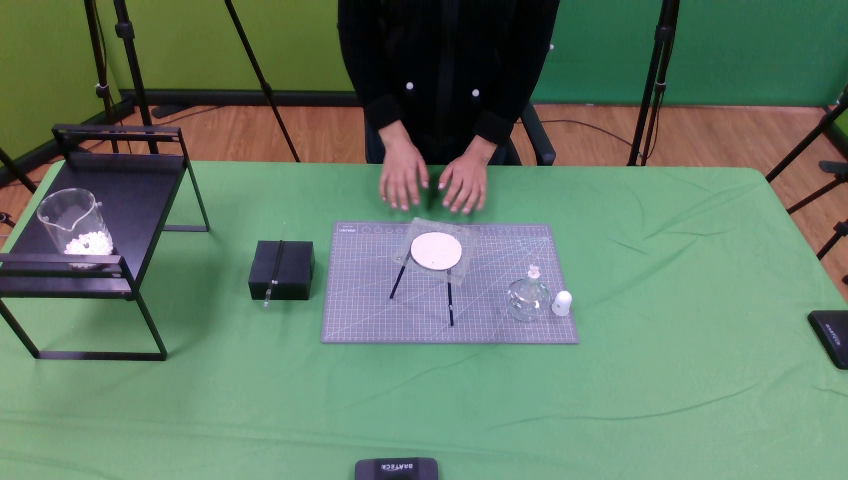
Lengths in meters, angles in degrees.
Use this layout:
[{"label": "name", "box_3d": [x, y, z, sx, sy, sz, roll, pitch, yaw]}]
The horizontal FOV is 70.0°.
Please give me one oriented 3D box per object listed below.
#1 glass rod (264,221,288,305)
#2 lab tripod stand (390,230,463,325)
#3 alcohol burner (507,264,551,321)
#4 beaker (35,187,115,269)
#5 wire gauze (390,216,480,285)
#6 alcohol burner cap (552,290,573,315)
[{"label": "glass rod", "box_3d": [-0.263, 0.037, 1.083, 0.008, 0.008, 0.198, 3, 46, -1]}, {"label": "lab tripod stand", "box_3d": [0.014, 0.060, 1.056, 0.148, 0.132, 0.147, 1, 48, -1]}, {"label": "alcohol burner", "box_3d": [0.185, 0.086, 1.056, 0.078, 0.120, 0.077, 1, 46, -1]}, {"label": "beaker", "box_3d": [-0.494, -0.012, 0.867, 0.074, 0.101, 0.083, -17, 50, -18]}, {"label": "wire gauze", "box_3d": [0.020, 0.012, 1.009, 0.125, 0.011, 0.121, 16, 48, 12]}, {"label": "alcohol burner cap", "box_3d": [0.250, 0.109, 1.088, 0.034, 0.048, 0.033, 4, 47, -4]}]
